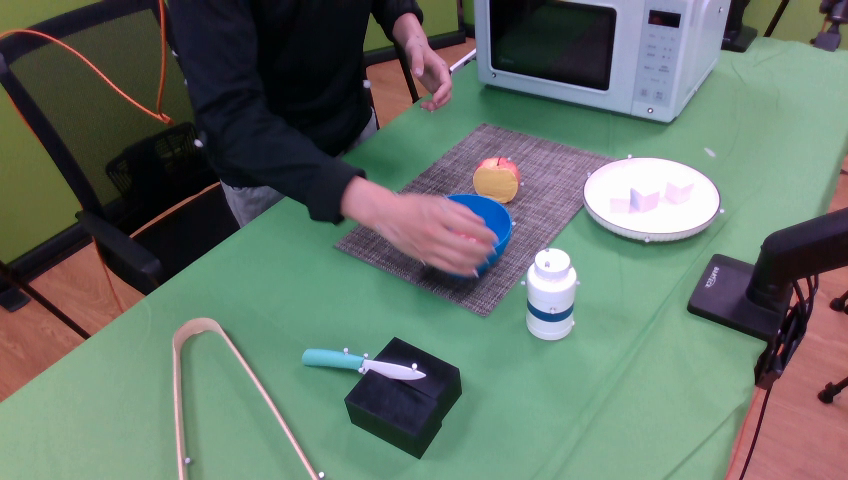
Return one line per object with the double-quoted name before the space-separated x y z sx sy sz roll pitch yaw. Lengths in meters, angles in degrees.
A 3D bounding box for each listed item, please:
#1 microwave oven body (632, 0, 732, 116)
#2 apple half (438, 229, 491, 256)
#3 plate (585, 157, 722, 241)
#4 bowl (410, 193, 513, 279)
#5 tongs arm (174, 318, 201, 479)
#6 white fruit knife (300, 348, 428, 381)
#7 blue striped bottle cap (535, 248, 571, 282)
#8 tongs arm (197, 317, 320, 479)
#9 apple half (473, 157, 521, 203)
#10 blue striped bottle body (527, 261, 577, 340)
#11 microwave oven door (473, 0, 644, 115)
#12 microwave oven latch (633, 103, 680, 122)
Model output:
"microwave oven body" 0.377 -0.463 1.267 0.438 0.261 0.327 21 49 30
"apple half" 0.056 0.004 0.901 0.081 0.033 0.081 -5 39 4
"plate" 0.367 -0.063 0.979 0.207 0.039 0.206 -4 40 4
"bowl" 0.058 0.004 0.905 0.151 0.077 0.150 -4 39 3
"tongs arm" -0.272 0.234 0.723 0.051 0.026 0.381 -19 40 -14
"white fruit knife" -0.080 0.154 0.748 0.206 0.027 0.016 0 20 35
"blue striped bottle cap" 0.161 0.031 0.753 0.044 0.021 0.044 -4 42 4
"tongs arm" -0.200 0.206 0.750 0.028 0.028 0.384 -31 45 -22
"apple half" 0.128 -0.107 1.030 0.080 0.075 0.053 4 38 19
"blue striped bottle body" 0.166 0.069 0.786 0.063 0.121 0.063 -4 41 4
"microwave oven door" 0.257 -0.396 1.199 0.353 0.245 0.039 21 48 29
"microwave oven latch" 0.444 -0.249 1.158 0.078 0.029 0.030 21 49 30
